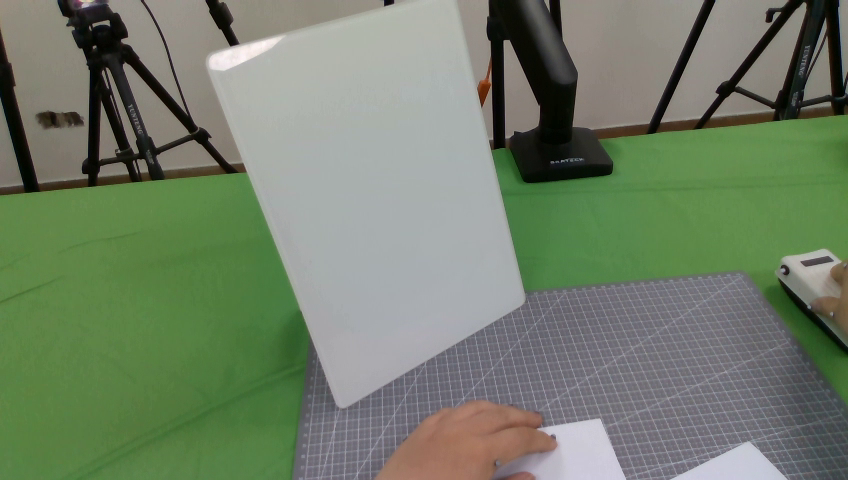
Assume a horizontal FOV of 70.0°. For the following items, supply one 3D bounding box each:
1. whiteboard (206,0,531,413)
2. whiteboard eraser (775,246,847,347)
[{"bbox_3d":[-0.055,-0.043,0.567,0.217,0.307,0.142,-25,21,-24],"label":"whiteboard"},{"bbox_3d":[0.387,0.053,0.564,0.055,0.042,0.111,-13,38,-4],"label":"whiteboard eraser"}]
